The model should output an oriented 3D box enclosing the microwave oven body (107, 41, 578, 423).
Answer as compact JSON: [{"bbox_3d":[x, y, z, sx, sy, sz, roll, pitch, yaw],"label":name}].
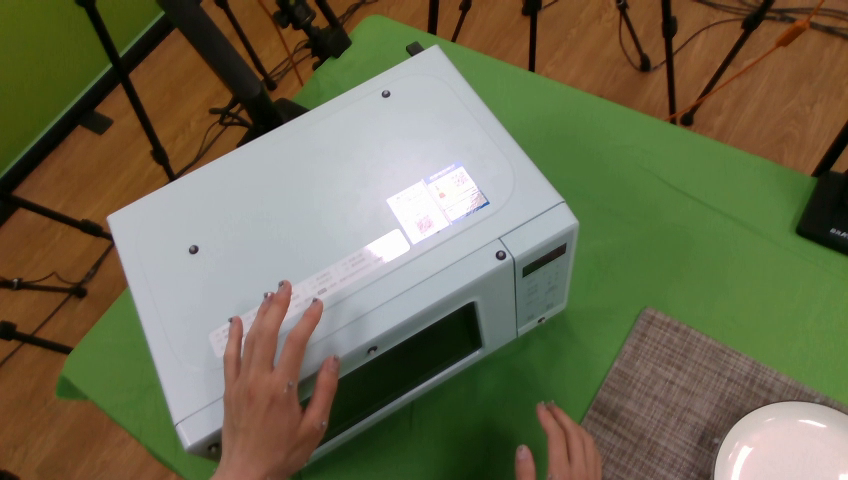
[{"bbox_3d":[-0.089,0.020,0.757,0.442,0.262,0.323,-30,63,-6],"label":"microwave oven body"}]

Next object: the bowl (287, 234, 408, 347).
[{"bbox_3d":[-0.089,0.076,0.770,0.151,0.077,0.150,-4,58,7],"label":"bowl"}]

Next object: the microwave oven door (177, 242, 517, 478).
[{"bbox_3d":[-0.056,0.146,0.681,0.356,0.246,0.039,-30,61,-7],"label":"microwave oven door"}]

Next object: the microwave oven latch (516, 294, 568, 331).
[{"bbox_3d":[0.150,0.087,0.795,0.079,0.030,0.030,-28,62,-5],"label":"microwave oven latch"}]

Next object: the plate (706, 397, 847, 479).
[{"bbox_3d":[0.419,0.281,0.667,0.207,0.039,0.206,-4,62,7],"label":"plate"}]
